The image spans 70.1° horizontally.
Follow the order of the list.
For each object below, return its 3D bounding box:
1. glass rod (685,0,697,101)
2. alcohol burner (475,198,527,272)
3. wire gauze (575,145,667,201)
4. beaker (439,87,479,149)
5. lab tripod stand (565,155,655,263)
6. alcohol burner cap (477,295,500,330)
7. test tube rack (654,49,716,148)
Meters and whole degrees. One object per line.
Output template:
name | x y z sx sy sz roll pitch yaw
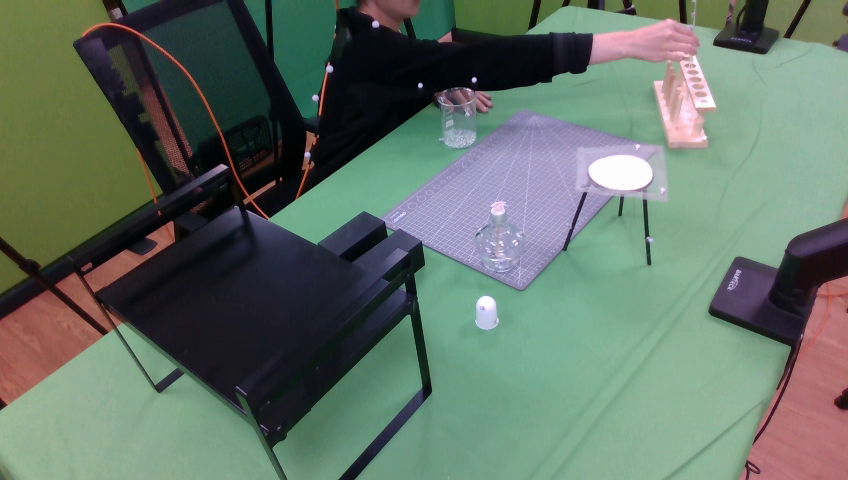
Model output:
glass rod | 0.502 -0.352 1.138 0.008 0.201 0.008 -8 39 7
alcohol burner | 0.113 -0.012 0.897 0.078 0.119 0.077 -6 40 6
wire gauze | 0.279 -0.100 0.861 0.124 0.011 0.121 5 43 14
beaker | 0.072 -0.239 1.184 0.073 0.101 0.084 29 52 35
lab tripod stand | 0.285 -0.046 0.901 0.148 0.132 0.147 -5 42 5
alcohol burner cap | 0.089 0.097 0.833 0.034 0.048 0.033 -4 42 4
test tube rack | 0.502 -0.281 1.176 0.066 0.085 0.241 2 42 11
